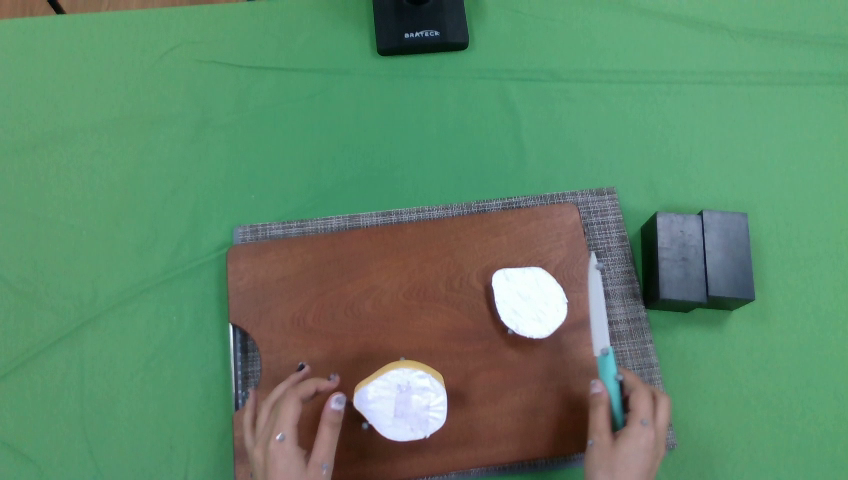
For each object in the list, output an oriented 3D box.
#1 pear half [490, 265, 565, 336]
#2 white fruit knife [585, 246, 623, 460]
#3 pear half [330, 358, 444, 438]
[{"bbox_3d":[0.109,0.062,0.644,0.087,0.031,0.070,41,91,28],"label":"pear half"},{"bbox_3d":[0.172,0.109,0.587,0.016,0.027,0.207,-1,83,-30],"label":"white fruit knife"},{"bbox_3d":[-0.037,0.153,0.598,0.110,0.056,0.076,4,91,-5],"label":"pear half"}]
